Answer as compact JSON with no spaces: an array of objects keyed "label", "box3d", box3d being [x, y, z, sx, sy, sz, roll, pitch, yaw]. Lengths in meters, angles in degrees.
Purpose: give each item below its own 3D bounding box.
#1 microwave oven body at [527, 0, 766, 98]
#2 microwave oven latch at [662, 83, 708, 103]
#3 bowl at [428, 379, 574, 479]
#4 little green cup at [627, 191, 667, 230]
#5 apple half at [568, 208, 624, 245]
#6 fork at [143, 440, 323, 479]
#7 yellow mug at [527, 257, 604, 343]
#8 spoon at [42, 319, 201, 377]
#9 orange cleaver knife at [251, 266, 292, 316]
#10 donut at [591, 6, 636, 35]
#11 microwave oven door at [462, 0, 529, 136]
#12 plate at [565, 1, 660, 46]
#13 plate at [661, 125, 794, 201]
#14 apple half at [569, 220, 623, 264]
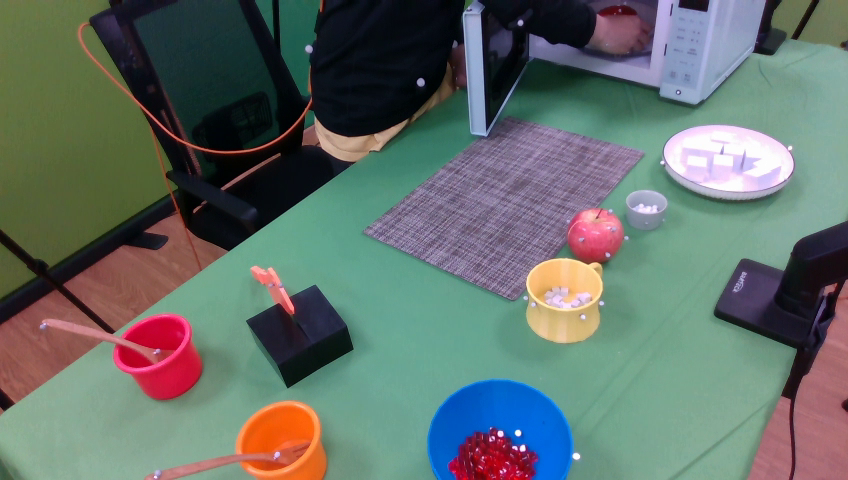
[{"label":"microwave oven body","box3d":[0.472,-0.513,1.317,0.438,0.261,0.327,25,51,34]},{"label":"microwave oven latch","box3d":[0.518,-0.296,1.204,0.078,0.029,0.030,28,52,35]},{"label":"bowl","box3d":[0.082,0.233,0.644,0.151,0.077,0.150,-4,40,4]},{"label":"little green cup","box3d":[0.352,-0.046,0.963,0.061,0.039,0.061,-4,40,3]},{"label":"apple half","box3d":[0.259,-0.014,0.914,0.080,0.075,0.053,0,36,15]},{"label":"fork","box3d":[-0.190,0.231,0.631,0.028,0.018,0.209,38,14,37]},{"label":"yellow mug","box3d":[0.201,0.072,0.825,0.131,0.064,0.099,-32,46,-27]},{"label":"spoon","box3d":[-0.385,0.135,0.779,0.195,0.021,0.041,29,37,-27]},{"label":"orange cleaver knife","box3d":[-0.221,0.071,0.873,0.012,0.077,0.210,-25,11,-21]},{"label":"donut","box3d":[0.428,-0.498,1.367,0.099,0.048,0.098,-5,38,4]},{"label":"microwave oven door","box3d":[0.156,-0.410,1.236,0.039,0.245,0.355,10,43,19]},{"label":"plate","box3d":[0.427,-0.489,1.377,0.209,0.038,0.208,-4,39,4]},{"label":"plate","box3d":[0.514,-0.128,1.035,0.207,0.039,0.206,-4,40,4]},{"label":"apple half","box3d":[0.251,0.010,0.884,0.081,0.081,0.032,3,37,12]}]
